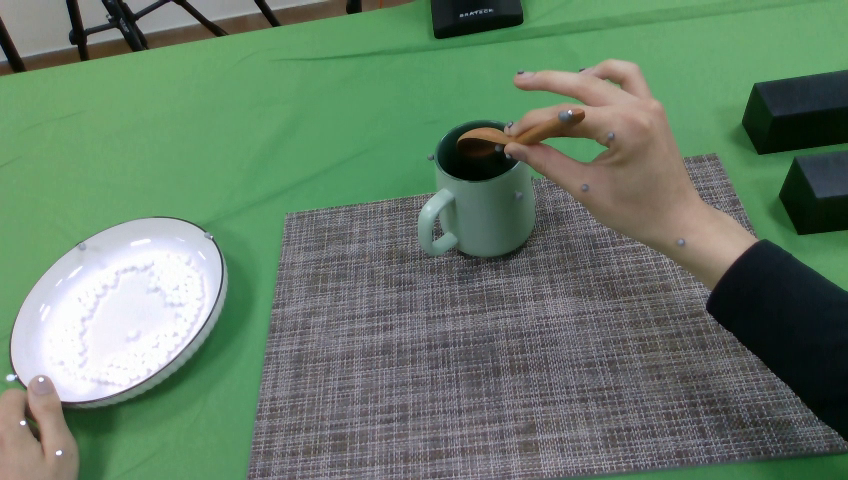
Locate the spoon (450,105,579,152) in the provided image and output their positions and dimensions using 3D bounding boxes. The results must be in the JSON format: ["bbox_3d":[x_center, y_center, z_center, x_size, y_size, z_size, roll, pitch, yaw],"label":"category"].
[{"bbox_3d":[0.063,-0.078,0.444,0.042,0.192,0.021,5,95,-17],"label":"spoon"}]

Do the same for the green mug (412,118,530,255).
[{"bbox_3d":[0.038,-0.036,0.551,0.091,0.106,0.125,35,66,31],"label":"green mug"}]

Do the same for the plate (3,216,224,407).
[{"bbox_3d":[-0.290,0.066,0.584,0.209,0.038,0.207,-5,52,7],"label":"plate"}]
